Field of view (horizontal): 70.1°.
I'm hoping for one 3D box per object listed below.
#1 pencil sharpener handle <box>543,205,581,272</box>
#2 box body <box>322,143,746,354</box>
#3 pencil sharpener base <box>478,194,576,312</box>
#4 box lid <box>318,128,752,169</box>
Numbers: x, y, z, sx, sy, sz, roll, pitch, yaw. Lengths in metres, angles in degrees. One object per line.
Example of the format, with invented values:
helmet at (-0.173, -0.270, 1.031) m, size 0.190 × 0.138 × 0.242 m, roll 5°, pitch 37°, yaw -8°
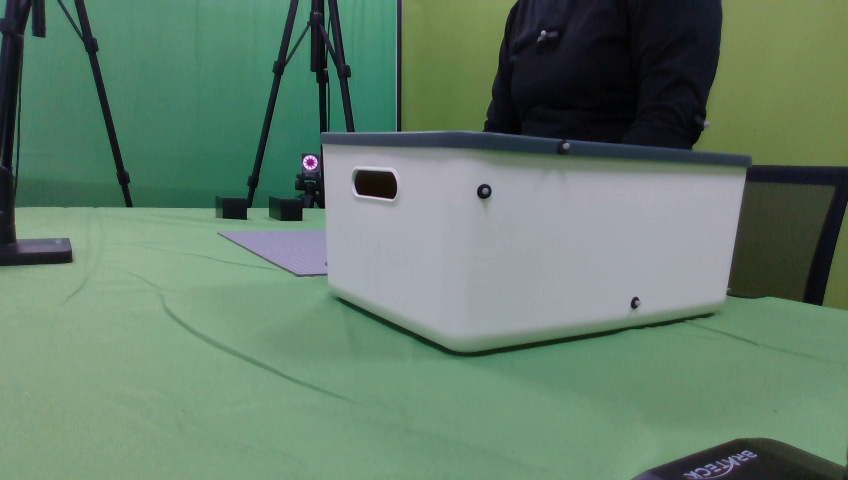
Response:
pencil sharpener handle at (0.146, -0.001, 0.618) m, size 0.031 × 0.067 × 0.036 m, roll 0°, pitch -3°, yaw -36°
box body at (0.106, -0.011, 0.603) m, size 0.366 × 0.160 × 0.253 m, roll -2°, pitch 8°, yaw -34°
pencil sharpener base at (0.102, 0.011, 0.591) m, size 0.077 × 0.107 × 0.061 m, roll 0°, pitch 6°, yaw -36°
box lid at (0.107, -0.085, 0.594) m, size 0.373 × 0.015 × 0.262 m, roll -1°, pitch 8°, yaw -34°
